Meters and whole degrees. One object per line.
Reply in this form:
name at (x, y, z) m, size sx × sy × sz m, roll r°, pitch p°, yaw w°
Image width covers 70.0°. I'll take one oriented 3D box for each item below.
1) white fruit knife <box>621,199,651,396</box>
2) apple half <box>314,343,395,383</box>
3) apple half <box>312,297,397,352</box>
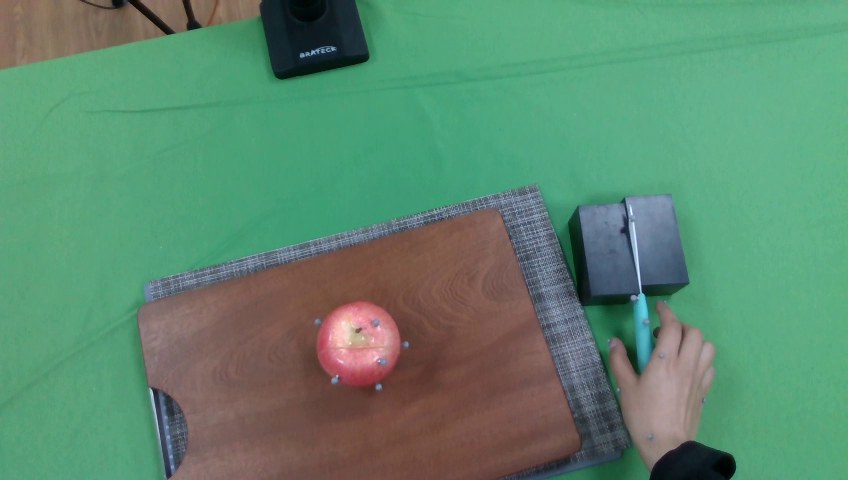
white fruit knife at (0.218, 0.060, 0.630) m, size 0.016 × 0.027 × 0.207 m, roll -5°, pitch 87°, yaw -3°
apple half at (-0.066, 0.121, 0.580) m, size 0.081 × 0.082 × 0.032 m, roll -2°, pitch 68°, yaw -1°
apple half at (-0.067, 0.084, 0.593) m, size 0.081 × 0.075 × 0.053 m, roll -4°, pitch 68°, yaw 3°
